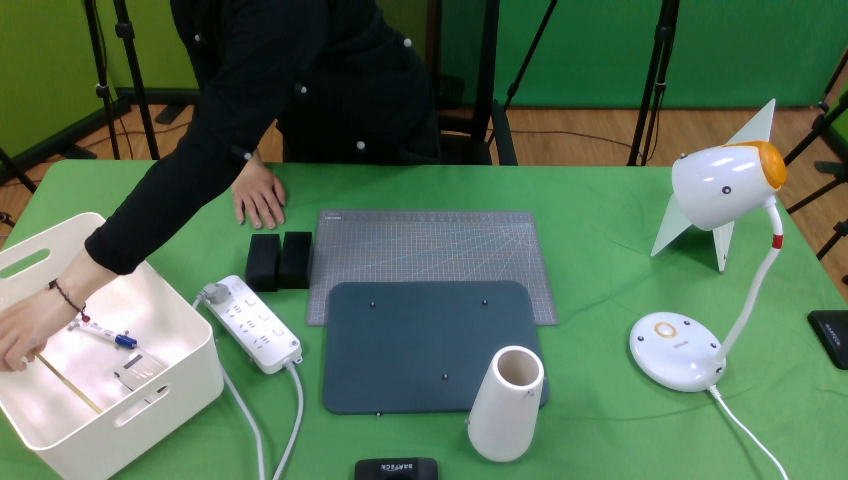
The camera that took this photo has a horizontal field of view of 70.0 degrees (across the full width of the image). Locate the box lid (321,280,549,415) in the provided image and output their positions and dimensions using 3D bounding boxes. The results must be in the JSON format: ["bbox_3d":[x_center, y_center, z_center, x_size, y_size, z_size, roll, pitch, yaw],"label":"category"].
[{"bbox_3d":[0.013,0.174,1.040,0.372,0.015,0.261,0,47,-4],"label":"box lid"}]

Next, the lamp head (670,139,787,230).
[{"bbox_3d":[0.415,-0.078,0.811,0.113,0.123,0.112,12,70,-37],"label":"lamp head"}]

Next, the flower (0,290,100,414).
[{"bbox_3d":[-0.548,0.185,0.892,0.360,0.038,0.044,38,41,13],"label":"flower"}]

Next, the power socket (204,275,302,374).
[{"bbox_3d":[-0.296,0.140,1.035,0.072,0.033,0.225,-33,57,-30],"label":"power socket"}]

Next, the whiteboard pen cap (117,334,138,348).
[{"bbox_3d":[-0.489,0.165,0.997,0.033,0.018,0.018,17,47,10],"label":"whiteboard pen cap"}]

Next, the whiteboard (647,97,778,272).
[{"bbox_3d":[0.602,-0.079,1.162,0.144,0.306,0.216,35,51,2],"label":"whiteboard"}]

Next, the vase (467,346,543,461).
[{"bbox_3d":[0.116,0.235,0.860,0.098,0.201,0.097,1,47,-1],"label":"vase"}]

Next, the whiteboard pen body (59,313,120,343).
[{"bbox_3d":[-0.544,0.150,1.008,0.140,0.017,0.017,18,48,9],"label":"whiteboard pen body"}]

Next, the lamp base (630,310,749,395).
[{"bbox_3d":[0.447,0.143,0.984,0.161,0.181,0.178,-24,55,-24],"label":"lamp base"}]

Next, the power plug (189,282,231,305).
[{"bbox_3d":[-0.368,0.097,1.039,0.072,0.053,0.035,-27,55,-21],"label":"power plug"}]

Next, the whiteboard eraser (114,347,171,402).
[{"bbox_3d":[-0.420,0.215,0.936,0.112,0.042,0.055,25,48,22],"label":"whiteboard eraser"}]

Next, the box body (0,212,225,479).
[{"bbox_3d":[-0.506,0.155,0.915,0.362,0.161,0.254,35,54,26],"label":"box body"}]
